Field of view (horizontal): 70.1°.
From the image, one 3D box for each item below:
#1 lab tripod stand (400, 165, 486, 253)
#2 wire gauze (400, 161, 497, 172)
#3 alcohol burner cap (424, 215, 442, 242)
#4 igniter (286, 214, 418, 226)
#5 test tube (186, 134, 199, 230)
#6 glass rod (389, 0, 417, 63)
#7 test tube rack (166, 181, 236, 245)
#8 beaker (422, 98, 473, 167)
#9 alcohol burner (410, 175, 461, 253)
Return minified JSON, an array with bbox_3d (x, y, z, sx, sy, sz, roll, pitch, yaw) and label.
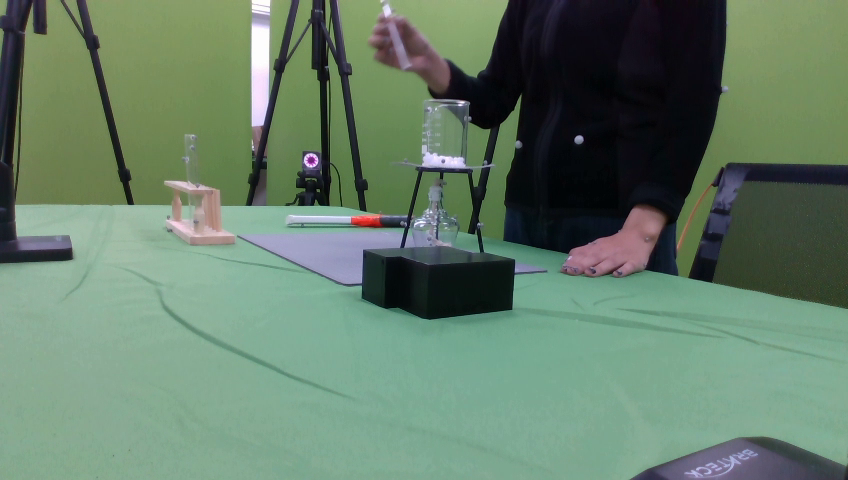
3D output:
[{"bbox_3d":[0.027,-0.049,0.930,0.148,0.131,0.148,2,9,0],"label":"lab tripod stand"},{"bbox_3d":[0.027,-0.114,0.920,0.122,0.011,0.124,-5,13,-34],"label":"wire gauze"},{"bbox_3d":[0.017,-0.022,1.098,0.034,0.048,0.034,2,9,0],"label":"alcohol burner cap"},{"bbox_3d":[-0.145,-0.043,1.263,0.278,0.025,0.057,-1,-2,-24],"label":"igniter"},{"bbox_3d":[-0.360,-0.089,0.946,0.017,0.150,0.017,0,10,0],"label":"test tube"},{"bbox_3d":[-0.037,-0.347,0.975,0.008,0.008,0.199,-1,51,-22],"label":"glass rod"},{"bbox_3d":[-0.383,-0.051,1.024,0.067,0.085,0.241,-2,9,-31],"label":"test tube rack"},{"bbox_3d":[0.031,-0.162,0.919,0.074,0.100,0.083,-4,9,-36],"label":"beaker"},{"bbox_3d":[0.018,-0.040,0.931,0.078,0.119,0.078,0,7,0],"label":"alcohol burner"}]
